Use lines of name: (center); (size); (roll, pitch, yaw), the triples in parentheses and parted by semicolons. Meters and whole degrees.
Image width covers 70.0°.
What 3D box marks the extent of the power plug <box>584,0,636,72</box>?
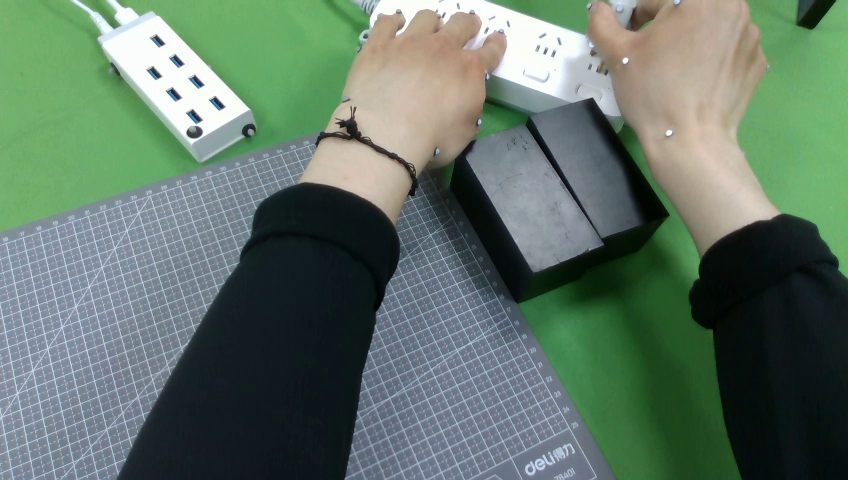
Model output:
power plug: (0.142, -0.162, 0.449); (0.035, 0.053, 0.072); (23, 56, 6)

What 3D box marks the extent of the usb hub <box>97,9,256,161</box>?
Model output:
usb hub: (-0.180, -0.114, 0.440); (0.049, 0.025, 0.124); (-39, 72, -21)

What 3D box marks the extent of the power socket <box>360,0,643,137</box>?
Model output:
power socket: (0.063, -0.146, 0.474); (0.226, 0.033, 0.072); (22, 63, 7)
